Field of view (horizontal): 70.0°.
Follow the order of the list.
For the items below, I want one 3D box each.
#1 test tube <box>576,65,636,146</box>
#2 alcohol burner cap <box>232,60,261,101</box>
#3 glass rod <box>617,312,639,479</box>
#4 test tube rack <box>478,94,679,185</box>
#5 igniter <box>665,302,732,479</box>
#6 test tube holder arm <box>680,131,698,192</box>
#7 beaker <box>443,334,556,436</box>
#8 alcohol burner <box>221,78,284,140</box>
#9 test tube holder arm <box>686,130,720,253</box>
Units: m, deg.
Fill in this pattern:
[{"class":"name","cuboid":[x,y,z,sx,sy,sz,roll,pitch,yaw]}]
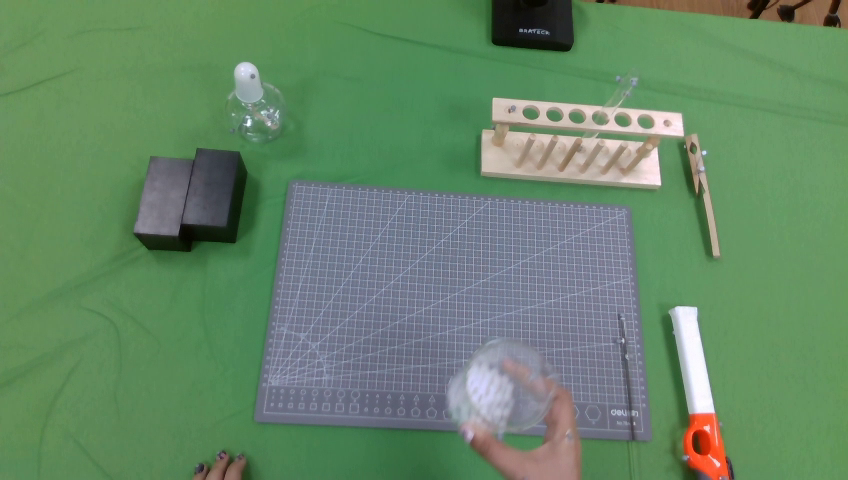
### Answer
[{"class":"test tube","cuboid":[0.221,-0.162,0.751,0.017,0.151,0.017,4,64,-8]},{"class":"alcohol burner cap","cuboid":[-0.212,-0.193,0.719,0.034,0.048,0.033,5,62,-9]},{"class":"glass rod","cuboid":[0.238,0.181,0.711,0.008,0.008,0.198,3,68,-5]},{"class":"test tube rack","cuboid":[0.197,-0.128,0.789,0.243,0.085,0.066,4,68,-4]},{"class":"igniter","cuboid":[0.319,0.207,0.703,0.057,0.025,0.274,5,68,-15]},{"class":"test tube holder arm","cuboid":[0.367,-0.108,0.835,0.010,0.015,0.087,-15,67,27]},{"class":"beaker","cuboid":[0.061,0.130,0.527,0.084,0.101,0.073,-8,69,-13]},{"class":"alcohol burner","cuboid":[-0.216,-0.178,0.751,0.078,0.120,0.077,1,67,-3]},{"class":"test tube holder arm","cuboid":[0.376,-0.068,0.817,0.013,0.015,0.177,-16,67,26]}]
